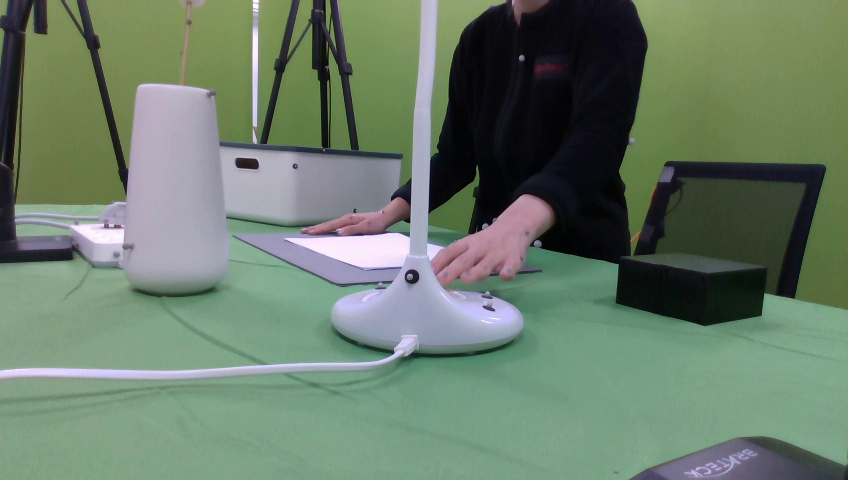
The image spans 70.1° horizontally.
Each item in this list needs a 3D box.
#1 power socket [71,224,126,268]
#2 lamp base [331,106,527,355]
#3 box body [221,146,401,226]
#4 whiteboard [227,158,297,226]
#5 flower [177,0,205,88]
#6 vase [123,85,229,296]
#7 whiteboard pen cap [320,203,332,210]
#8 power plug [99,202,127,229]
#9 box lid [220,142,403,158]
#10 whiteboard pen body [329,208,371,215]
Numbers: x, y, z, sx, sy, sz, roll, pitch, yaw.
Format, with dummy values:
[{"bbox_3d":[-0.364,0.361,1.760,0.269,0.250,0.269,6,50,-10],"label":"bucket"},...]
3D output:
[{"bbox_3d":[-0.409,0.004,0.793,0.072,0.032,0.225,-2,8,-37],"label":"power socket"},{"bbox_3d":[0.006,-0.012,0.478,0.161,0.180,0.179,2,10,2],"label":"lamp base"},{"bbox_3d":[-0.254,-0.128,1.379,0.253,0.160,0.366,8,9,36],"label":"box body"},{"bbox_3d":[-0.265,-0.116,1.372,0.216,0.143,0.307,4,7,35],"label":"whiteboard"},{"bbox_3d":[-0.243,-0.131,0.609,0.044,0.361,0.038,-5,-12,11],"label":"flower"},{"bbox_3d":[-0.244,-0.047,0.598,0.098,0.200,0.098,3,8,0],"label":"vase"},{"bbox_3d":[-0.247,-0.084,1.531,0.033,0.018,0.018,9,10,39],"label":"whiteboard pen cap"},{"bbox_3d":[-0.415,-0.026,0.848,0.073,0.052,0.035,6,5,-28],"label":"power plug"},{"bbox_3d":[-0.252,-0.202,1.368,0.262,0.015,0.373,9,9,36],"label":"box lid"},{"bbox_3d":[-0.189,-0.073,1.522,0.140,0.017,0.017,3,6,37],"label":"whiteboard pen body"}]
